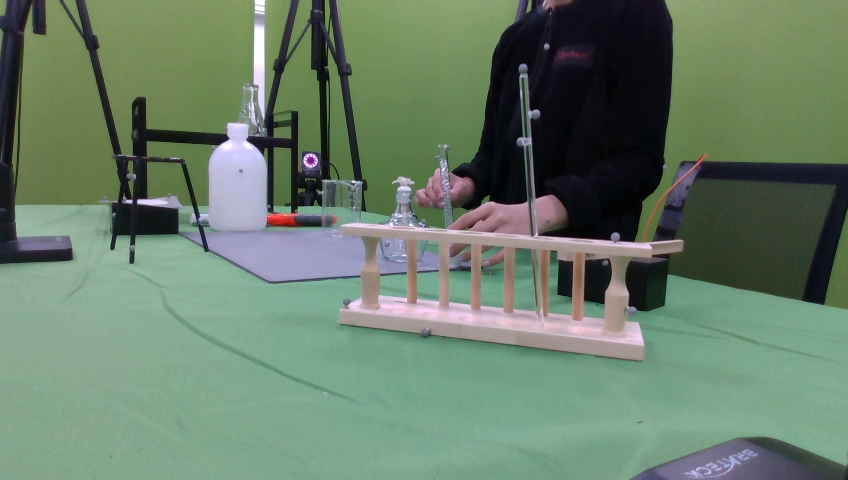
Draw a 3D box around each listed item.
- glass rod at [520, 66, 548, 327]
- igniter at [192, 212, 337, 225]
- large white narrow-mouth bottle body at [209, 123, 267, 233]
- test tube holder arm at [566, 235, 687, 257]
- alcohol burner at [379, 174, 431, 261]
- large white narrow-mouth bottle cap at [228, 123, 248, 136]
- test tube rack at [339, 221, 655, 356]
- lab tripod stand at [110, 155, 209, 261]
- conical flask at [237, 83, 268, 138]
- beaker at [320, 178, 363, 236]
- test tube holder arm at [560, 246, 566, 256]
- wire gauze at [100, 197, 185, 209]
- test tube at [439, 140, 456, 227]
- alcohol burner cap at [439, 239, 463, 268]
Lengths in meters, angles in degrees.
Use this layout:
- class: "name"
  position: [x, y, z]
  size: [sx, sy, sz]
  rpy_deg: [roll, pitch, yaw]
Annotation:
- class: "glass rod"
  position: [0.084, -0.029, 0.458]
  size: [0.008, 0.199, 0.008]
  rpy_deg: [-6, 11, 2]
- class: "igniter"
  position: [-0.312, -0.042, 1.203]
  size: [0.278, 0.025, 0.057]
  rpy_deg: [-1, -5, -25]
- class: "large white narrow-mouth bottle body"
  position: [-0.340, -0.115, 1.109]
  size: [0.102, 0.194, 0.102]
  rpy_deg: [2, 8, 0]
- class: "test tube holder arm"
  position: [0.215, 0.006, 0.630]
  size: [0.179, 0.015, 0.013]
  rpy_deg: [-3, 9, -31]
- class: "alcohol burner"
  position: [-0.027, -0.031, 0.838]
  size: [0.078, 0.119, 0.078]
  rpy_deg: [0, 6, 0]
- class: "large white narrow-mouth bottle cap"
  position: [-0.338, -0.200, 1.097]
  size: [0.038, 0.024, 0.037]
  rpy_deg: [2, 8, 0]
- class: "test tube rack"
  position: [0.056, 0.032, 0.495]
  size: [0.242, 0.085, 0.067]
  rpy_deg: [4, 7, 15]
- class: "lab tripod stand"
  position: [-0.361, -0.046, 0.806]
  size: [0.148, 0.131, 0.148]
  rpy_deg: [2, 5, 0]
- class: "conical flask"
  position: [-0.402, -0.299, 1.406]
  size: [0.075, 0.122, 0.075]
  rpy_deg: [2, 7, 0]
- class: "beaker"
  position: [-0.145, -0.059, 1.079]
  size: [0.074, 0.100, 0.083]
  rpy_deg: [-4, 10, -36]
- class: "test tube holder arm"
  position: [0.173, 0.007, 0.612]
  size: [0.088, 0.015, 0.010]
  rpy_deg: [-3, 8, -29]
- class: "wire gauze"
  position: [-0.469, -0.062, 1.008]
  size: [0.126, 0.011, 0.121]
  rpy_deg: [-2, 8, -25]
- class: "test tube"
  position: [0.039, -0.091, 1.000]
  size: [0.017, 0.150, 0.017]
  rpy_deg: [-6, 17, 2]
- class: "alcohol burner cap"
  position: [0.037, 0.011, 0.809]
  size: [0.034, 0.048, 0.034]
  rpy_deg: [3, 9, 0]
